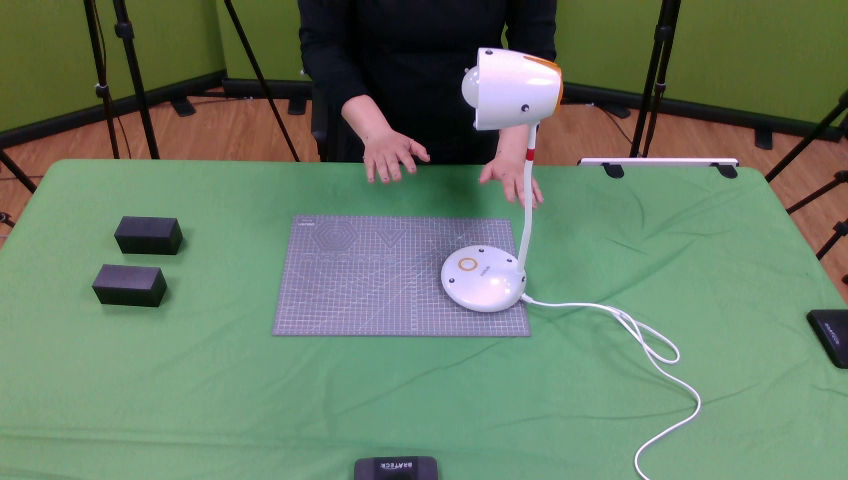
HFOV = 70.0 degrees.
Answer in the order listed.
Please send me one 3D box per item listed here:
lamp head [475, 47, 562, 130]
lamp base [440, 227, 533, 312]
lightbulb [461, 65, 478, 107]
[{"bbox_3d":[0.129,-0.206,0.840,0.123,0.113,0.112,5,45,-1],"label":"lamp head"},{"bbox_3d":[0.126,0.021,1.072,0.179,0.181,0.160,22,49,13],"label":"lamp base"},{"bbox_3d":[0.106,-0.214,0.850,0.108,0.060,0.059,4,45,-2],"label":"lightbulb"}]
